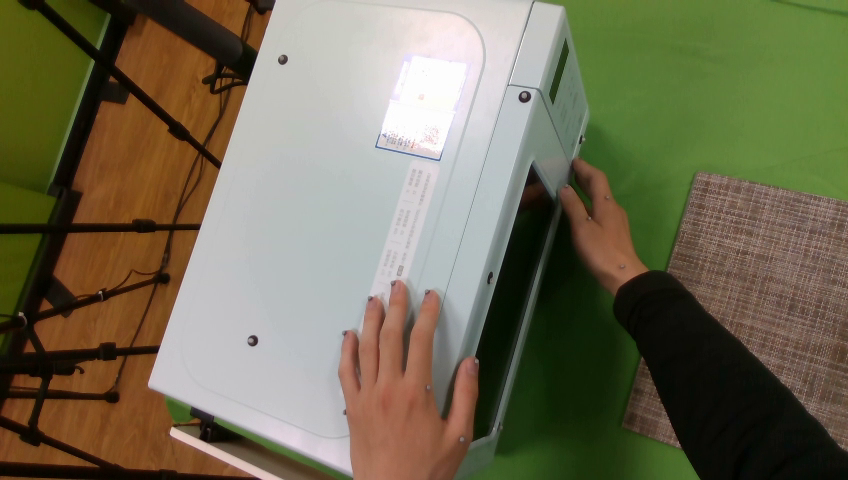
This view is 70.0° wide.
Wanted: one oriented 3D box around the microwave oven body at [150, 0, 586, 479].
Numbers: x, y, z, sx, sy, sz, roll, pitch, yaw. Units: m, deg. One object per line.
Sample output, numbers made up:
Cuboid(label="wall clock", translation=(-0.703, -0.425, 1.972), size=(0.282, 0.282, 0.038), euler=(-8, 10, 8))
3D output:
Cuboid(label="microwave oven body", translation=(-0.045, -0.009, 0.670), size=(0.324, 0.262, 0.441), euler=(15, 85, 22))

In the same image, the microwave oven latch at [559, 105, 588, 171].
Cuboid(label="microwave oven latch", translation=(0.172, -0.124, 0.717), size=(0.030, 0.030, 0.079), euler=(16, 86, 22))

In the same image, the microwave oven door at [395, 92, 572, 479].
Cuboid(label="microwave oven door", translation=(0.071, 0.064, 0.607), size=(0.039, 0.245, 0.355), euler=(14, 84, 23))
